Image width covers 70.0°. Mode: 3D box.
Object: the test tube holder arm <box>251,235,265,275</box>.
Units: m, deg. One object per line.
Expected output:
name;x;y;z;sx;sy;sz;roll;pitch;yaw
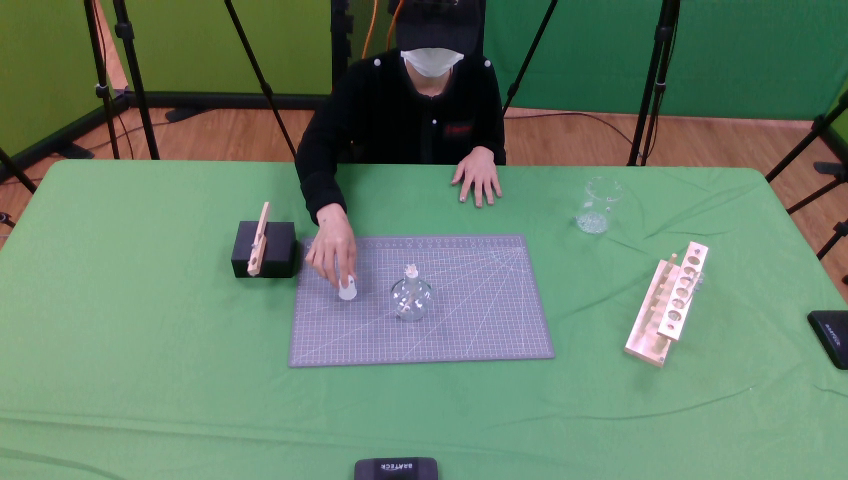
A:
test tube holder arm;-0.297;0.025;1.085;0.010;0.015;0.087;-5;45;1

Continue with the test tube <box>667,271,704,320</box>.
test tube;0.432;0.104;1.019;0.017;0.151;0.017;3;48;-3

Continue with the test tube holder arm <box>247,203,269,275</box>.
test tube holder arm;-0.304;-0.006;1.116;0.013;0.015;0.177;-5;45;1

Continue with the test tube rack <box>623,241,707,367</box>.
test tube rack;0.435;0.104;1.089;0.066;0.085;0.242;24;49;19

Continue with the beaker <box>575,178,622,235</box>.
beaker;0.356;-0.068;1.240;0.084;0.101;0.073;-18;50;-21

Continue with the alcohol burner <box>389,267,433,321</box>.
alcohol burner;-0.022;0.086;1.046;0.078;0.119;0.077;2;48;-3

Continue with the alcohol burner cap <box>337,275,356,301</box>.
alcohol burner cap;-0.139;0.082;1.071;0.034;0.048;0.033;0;46;0
